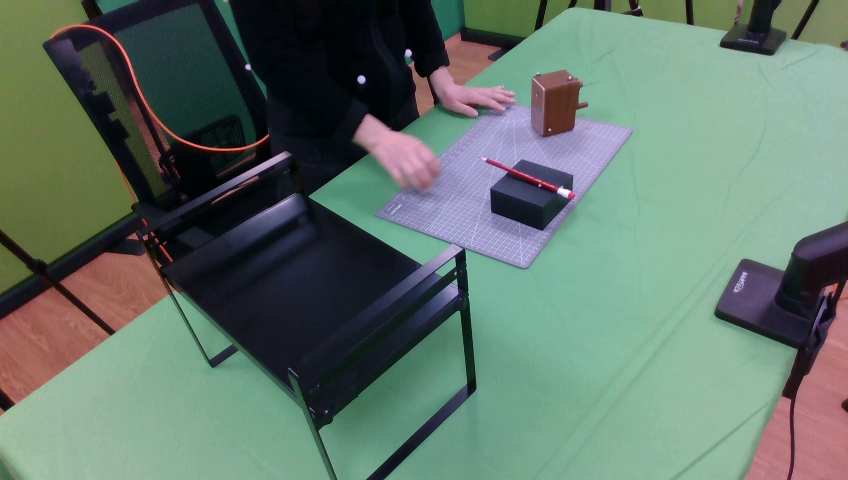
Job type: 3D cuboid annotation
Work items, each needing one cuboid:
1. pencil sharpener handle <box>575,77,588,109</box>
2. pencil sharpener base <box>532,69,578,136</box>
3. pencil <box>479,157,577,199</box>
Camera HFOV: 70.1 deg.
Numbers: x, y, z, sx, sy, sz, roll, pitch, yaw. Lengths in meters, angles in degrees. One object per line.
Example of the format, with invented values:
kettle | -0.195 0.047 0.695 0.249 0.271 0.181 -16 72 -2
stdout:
pencil sharpener handle | 0.304 -0.289 1.177 0.031 0.068 0.035 -15 33 -9
pencil sharpener base | 0.256 -0.268 1.179 0.077 0.107 0.061 -15 41 -9
pencil | 0.167 -0.106 1.001 0.192 0.012 0.012 28 52 33
